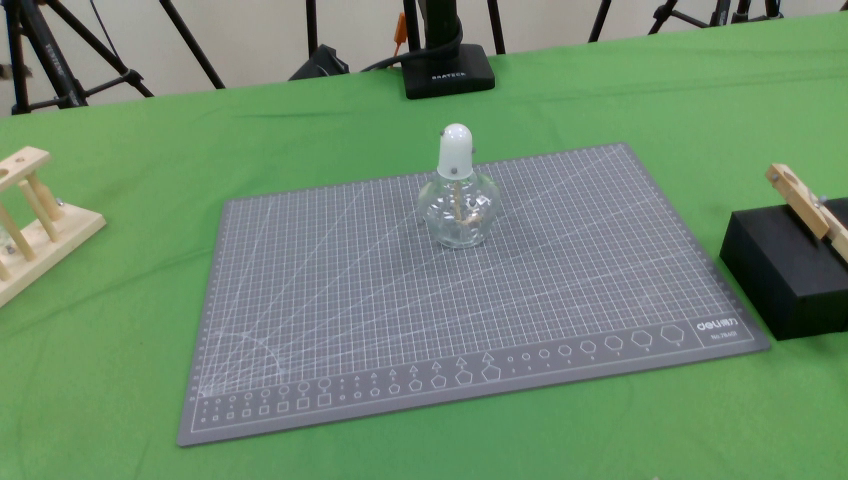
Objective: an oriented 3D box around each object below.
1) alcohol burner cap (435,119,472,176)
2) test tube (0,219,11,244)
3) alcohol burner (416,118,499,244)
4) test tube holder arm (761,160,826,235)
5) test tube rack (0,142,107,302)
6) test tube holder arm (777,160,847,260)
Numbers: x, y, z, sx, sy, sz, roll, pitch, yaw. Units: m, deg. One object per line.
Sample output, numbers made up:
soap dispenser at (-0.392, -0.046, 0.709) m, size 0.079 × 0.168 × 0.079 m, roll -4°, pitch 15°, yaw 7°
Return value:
alcohol burner cap at (0.027, -0.082, 0.529) m, size 0.034 × 0.048 × 0.033 m, roll 1°, pitch 41°, yaw 0°
test tube at (-0.427, -0.056, 0.558) m, size 0.017 × 0.151 × 0.017 m, roll -5°, pitch 39°, yaw 4°
alcohol burner at (0.029, -0.056, 0.553) m, size 0.078 × 0.120 × 0.077 m, roll -4°, pitch 40°, yaw 4°
test tube holder arm at (0.306, -0.037, 0.500) m, size 0.010 × 0.015 × 0.087 m, roll -1°, pitch 42°, yaw -7°
test tube rack at (-0.425, 0.014, 0.555) m, size 0.066 × 0.086 × 0.241 m, roll 16°, pitch 46°, yaw 22°
test tube holder arm at (0.317, -0.007, 0.468) m, size 0.013 × 0.015 × 0.176 m, roll -1°, pitch 42°, yaw -7°
